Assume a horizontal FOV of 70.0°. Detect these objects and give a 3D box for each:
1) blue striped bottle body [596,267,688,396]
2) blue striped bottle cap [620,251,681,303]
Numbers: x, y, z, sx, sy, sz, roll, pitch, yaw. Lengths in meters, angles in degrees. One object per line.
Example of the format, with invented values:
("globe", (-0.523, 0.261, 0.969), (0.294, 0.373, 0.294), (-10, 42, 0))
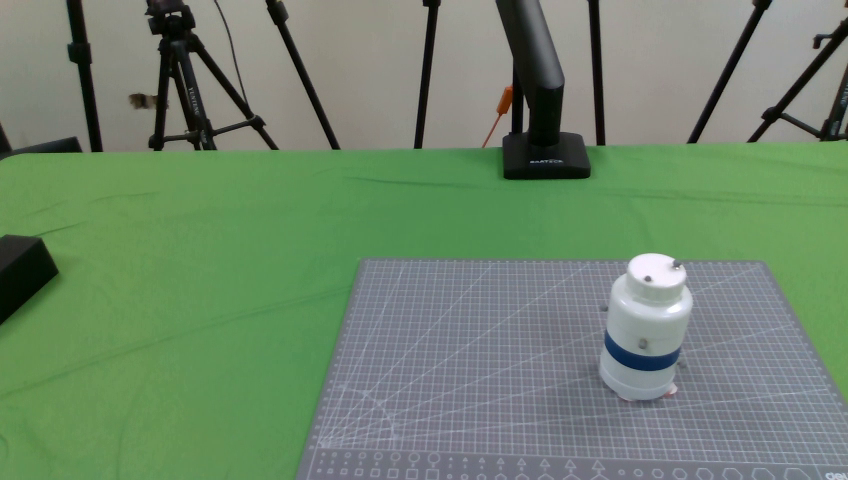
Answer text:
("blue striped bottle body", (0.183, 0.069, 0.510), (0.063, 0.122, 0.062), (-2, 36, 2))
("blue striped bottle cap", (0.179, 0.028, 0.480), (0.044, 0.021, 0.044), (-1, 36, 1))
